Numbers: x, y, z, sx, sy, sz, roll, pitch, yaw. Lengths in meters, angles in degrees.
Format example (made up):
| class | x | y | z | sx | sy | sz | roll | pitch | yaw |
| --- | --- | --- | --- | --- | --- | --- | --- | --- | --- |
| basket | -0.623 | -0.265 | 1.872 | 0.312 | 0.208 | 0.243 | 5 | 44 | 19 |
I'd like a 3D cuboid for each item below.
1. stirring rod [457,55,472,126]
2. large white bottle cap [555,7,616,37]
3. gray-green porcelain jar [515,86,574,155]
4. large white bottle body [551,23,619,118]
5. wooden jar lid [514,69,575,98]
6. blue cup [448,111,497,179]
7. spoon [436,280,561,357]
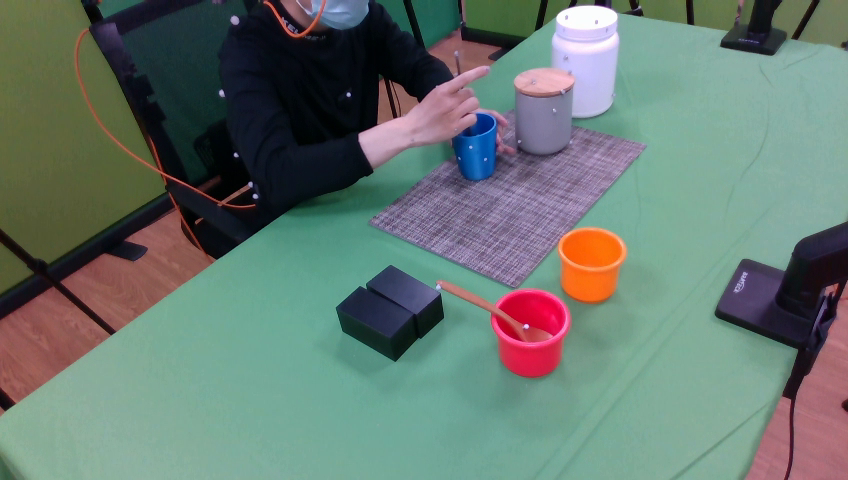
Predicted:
| class | x | y | z | sx | sy | sz | roll | pitch | yaw |
| --- | --- | --- | --- | --- | --- | --- | --- | --- | --- |
| stirring rod | 0.075 | -0.238 | 1.063 | 0.006 | 0.177 | 0.014 | -9 | 33 | 7 |
| large white bottle cap | 0.311 | -0.420 | 1.163 | 0.115 | 0.018 | 0.114 | -4 | 40 | 4 |
| gray-green porcelain jar | 0.223 | -0.232 | 1.129 | 0.106 | 0.127 | 0.105 | -4 | 40 | 4 |
| large white bottle body | 0.321 | -0.355 | 1.218 | 0.130 | 0.185 | 0.130 | -4 | 41 | 4 |
| wooden jar lid | 0.216 | -0.279 | 1.088 | 0.108 | 0.021 | 0.108 | -3 | 38 | 3 |
| blue cup | 0.092 | -0.166 | 1.089 | 0.092 | 0.101 | 0.092 | -6 | 41 | 6 |
| spoon | 0.096 | 0.095 | 0.757 | 0.195 | 0.021 | 0.041 | 34 | 43 | -20 |
